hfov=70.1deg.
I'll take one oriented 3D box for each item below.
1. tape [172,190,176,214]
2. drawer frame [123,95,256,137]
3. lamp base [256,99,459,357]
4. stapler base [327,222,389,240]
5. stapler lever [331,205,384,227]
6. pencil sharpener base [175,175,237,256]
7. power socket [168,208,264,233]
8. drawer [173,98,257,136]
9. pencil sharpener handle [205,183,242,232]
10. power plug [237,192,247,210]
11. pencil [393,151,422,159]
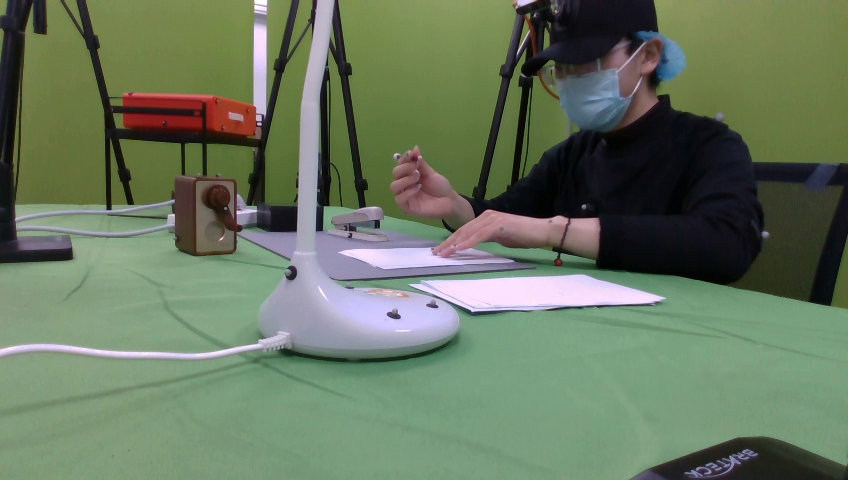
[{"bbox_3d":[-0.515,-0.087,1.388,0.117,0.052,0.117,3,7,0],"label":"tape"},{"bbox_3d":[-0.524,-0.281,1.376,0.213,0.082,0.202,3,8,8],"label":"drawer frame"},{"bbox_3d":[-0.055,-0.013,0.463,0.160,0.180,0.180,6,11,27],"label":"lamp base"},{"bbox_3d":[-0.117,-0.018,1.073,0.130,0.024,0.041,7,8,41],"label":"stapler base"},{"bbox_3d":[-0.118,-0.044,1.070,0.117,0.040,0.027,6,7,41],"label":"stapler lever"},{"bbox_3d":[-0.304,-0.035,0.847,0.062,0.107,0.076,-4,10,-42],"label":"pencil sharpener base"},{"bbox_3d":[-0.381,-0.038,1.129,0.072,0.032,0.227,4,8,17],"label":"power socket"},{"bbox_3d":[-0.518,-0.279,1.376,0.211,0.073,0.195,3,8,9],"label":"drawer"},{"bbox_3d":[-0.265,-0.043,0.813,0.036,0.068,0.030,-32,28,-35],"label":"pencil sharpener handle"},{"bbox_3d":[-0.386,-0.071,1.204,0.072,0.052,0.035,7,9,26],"label":"power plug"},{"bbox_3d":[-0.028,-0.141,1.013,0.012,0.012,0.193,0,9,-15],"label":"pencil"}]
